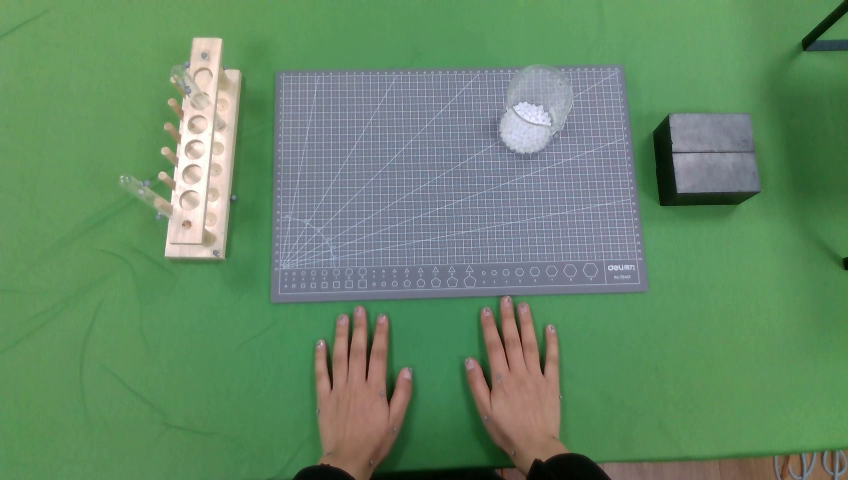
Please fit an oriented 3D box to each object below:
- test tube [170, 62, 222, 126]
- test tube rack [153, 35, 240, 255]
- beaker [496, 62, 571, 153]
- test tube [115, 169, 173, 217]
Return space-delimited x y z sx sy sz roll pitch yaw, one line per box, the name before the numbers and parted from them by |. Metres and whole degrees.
test tube | -0.249 -0.157 0.670 0.017 0.150 0.017 1 81 -4
test tube rack | -0.269 -0.109 0.708 0.067 0.085 0.241 1 77 -1
beaker | 0.128 -0.150 0.720 0.074 0.100 0.083 -30 80 -8
test tube | -0.290 -0.046 0.647 0.017 0.151 0.017 0 78 -2
